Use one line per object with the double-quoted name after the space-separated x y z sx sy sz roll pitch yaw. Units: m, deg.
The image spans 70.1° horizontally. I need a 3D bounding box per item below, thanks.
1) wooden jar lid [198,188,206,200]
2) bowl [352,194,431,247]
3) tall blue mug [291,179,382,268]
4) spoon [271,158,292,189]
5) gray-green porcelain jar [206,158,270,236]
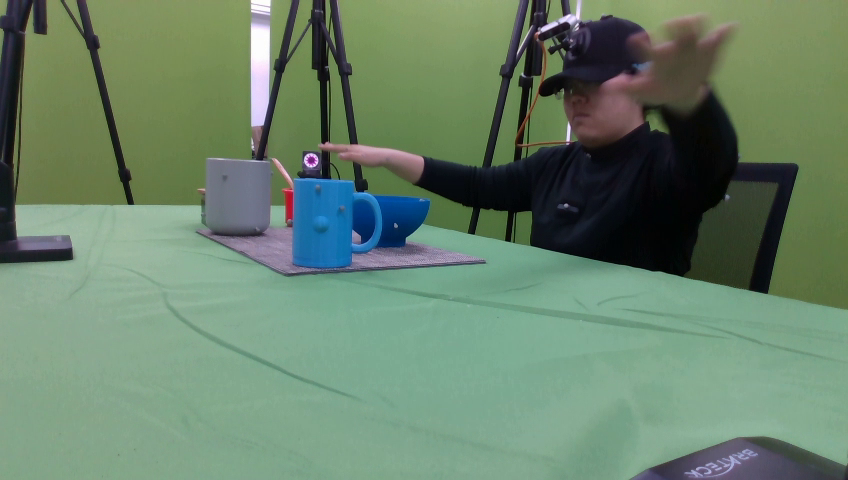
-0.382 -0.088 1.175 0.108 0.020 0.108 3 8 0 "wooden jar lid"
-0.066 -0.032 0.984 0.151 0.077 0.151 2 7 0 "bowl"
-0.116 -0.023 0.779 0.108 0.108 0.077 -2 8 -33 "tall blue mug"
-0.268 -0.103 1.236 0.042 0.021 0.193 -9 58 -40 "spoon"
-0.317 -0.074 1.032 0.106 0.126 0.106 3 7 0 "gray-green porcelain jar"
